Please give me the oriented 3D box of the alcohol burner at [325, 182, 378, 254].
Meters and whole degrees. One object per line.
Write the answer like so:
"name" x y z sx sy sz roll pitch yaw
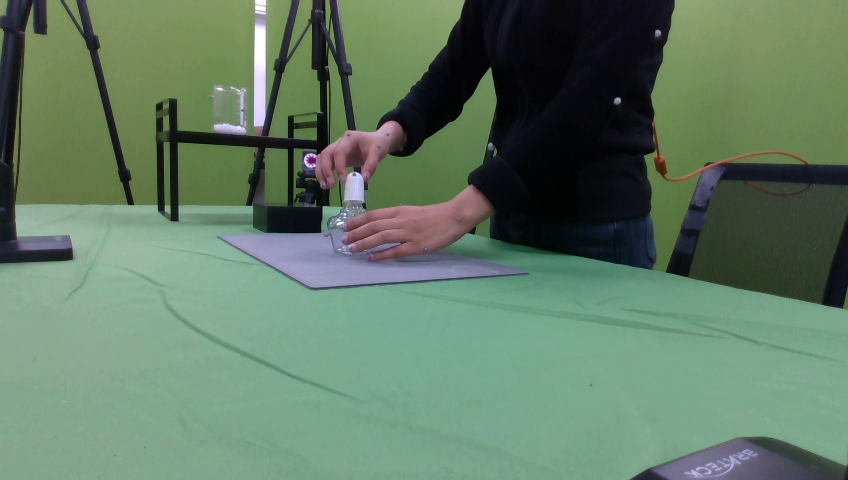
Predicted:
"alcohol burner" -0.107 -0.040 0.895 0.078 0.119 0.078 2 5 0

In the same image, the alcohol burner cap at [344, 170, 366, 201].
"alcohol burner cap" -0.100 -0.080 0.895 0.034 0.048 0.034 5 8 0

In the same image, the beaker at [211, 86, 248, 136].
"beaker" -0.413 -0.274 1.297 0.074 0.100 0.083 -5 11 -44
